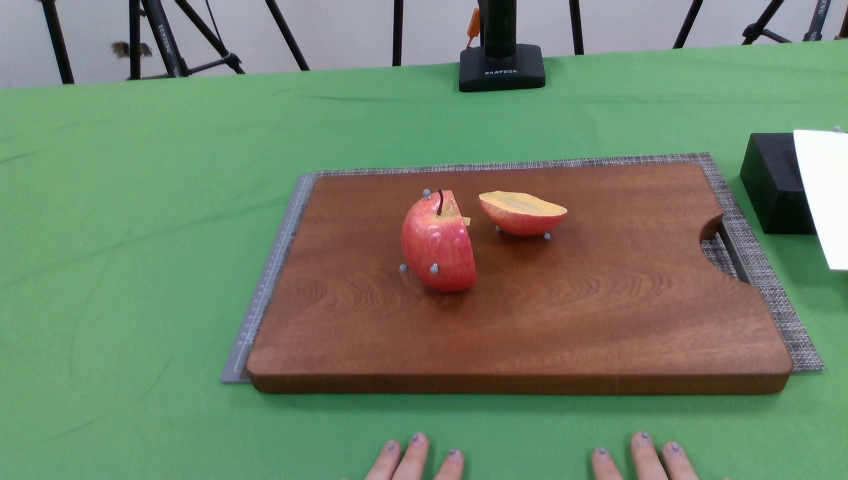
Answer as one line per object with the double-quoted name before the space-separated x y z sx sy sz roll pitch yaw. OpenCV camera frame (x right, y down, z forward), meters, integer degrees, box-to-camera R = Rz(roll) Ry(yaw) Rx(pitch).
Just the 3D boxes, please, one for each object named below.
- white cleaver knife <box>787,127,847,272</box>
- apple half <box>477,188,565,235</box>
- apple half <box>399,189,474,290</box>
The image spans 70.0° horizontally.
"white cleaver knife" 0.356 0.006 0.496 0.066 0.022 0.284 -1 51 13
"apple half" 0.082 -0.021 0.544 0.081 0.033 0.081 8 20 -3
"apple half" 0.007 0.003 0.500 0.053 0.075 0.080 -14 44 -3
